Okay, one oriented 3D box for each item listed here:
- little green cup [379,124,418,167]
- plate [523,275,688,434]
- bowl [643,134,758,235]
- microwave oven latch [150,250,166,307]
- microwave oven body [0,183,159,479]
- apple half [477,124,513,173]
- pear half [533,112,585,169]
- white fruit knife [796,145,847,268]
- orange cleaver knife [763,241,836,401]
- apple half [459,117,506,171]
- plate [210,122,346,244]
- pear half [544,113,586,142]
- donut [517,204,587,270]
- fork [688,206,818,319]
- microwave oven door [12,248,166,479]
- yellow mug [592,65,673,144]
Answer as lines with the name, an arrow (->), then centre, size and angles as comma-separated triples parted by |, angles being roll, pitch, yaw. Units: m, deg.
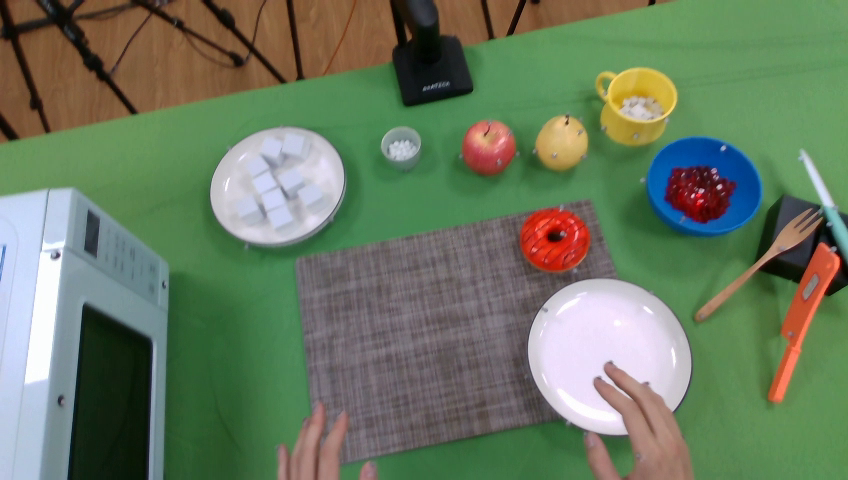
little green cup -> -0.037, -0.144, 0.944 | 0.061, 0.039, 0.061 | -2, 67, 4
plate -> 0.235, 0.149, 0.794 | 0.209, 0.038, 0.207 | -1, 67, 4
bowl -> 0.378, -0.066, 0.857 | 0.151, 0.077, 0.150 | -1, 67, 4
microwave oven latch -> -0.386, 0.057, 0.865 | 0.030, 0.030, 0.078 | -7, 67, 1
microwave oven body -> -0.516, 0.201, 0.708 | 0.326, 0.262, 0.438 | -9, 67, 0
apple half -> 0.113, -0.129, 0.906 | 0.032, 0.082, 0.081 | 34, 73, 21
pear half -> 0.196, -0.144, 0.887 | 0.076, 0.111, 0.055 | 17, 68, 16
white fruit knife -> 0.542, -0.041, 0.814 | 0.027, 0.016, 0.205 | 4, 62, -26
orange cleaver knife -> 0.474, 0.102, 0.776 | 0.012, 0.077, 0.211 | 19, 99, 10
apple half -> 0.083, -0.150, 0.918 | 0.053, 0.075, 0.080 | 35, 77, 21
plate -> -0.221, -0.085, 0.933 | 0.207, 0.039, 0.206 | -2, 67, 4
pear half -> 0.212, -0.171, 0.908 | 0.070, 0.089, 0.031 | 15, 70, 16
donut -> 0.181, -0.005, 0.860 | 0.099, 0.048, 0.098 | -2, 68, 6
fork -> 0.433, 0.033, 0.805 | 0.207, 0.019, 0.028 | -44, 76, 8
microwave oven door -> -0.367, 0.214, 0.685 | 0.039, 0.245, 0.353 | -9, 66, 1
yellow mug -> 0.311, -0.216, 0.932 | 0.100, 0.064, 0.130 | -42, 69, -12
